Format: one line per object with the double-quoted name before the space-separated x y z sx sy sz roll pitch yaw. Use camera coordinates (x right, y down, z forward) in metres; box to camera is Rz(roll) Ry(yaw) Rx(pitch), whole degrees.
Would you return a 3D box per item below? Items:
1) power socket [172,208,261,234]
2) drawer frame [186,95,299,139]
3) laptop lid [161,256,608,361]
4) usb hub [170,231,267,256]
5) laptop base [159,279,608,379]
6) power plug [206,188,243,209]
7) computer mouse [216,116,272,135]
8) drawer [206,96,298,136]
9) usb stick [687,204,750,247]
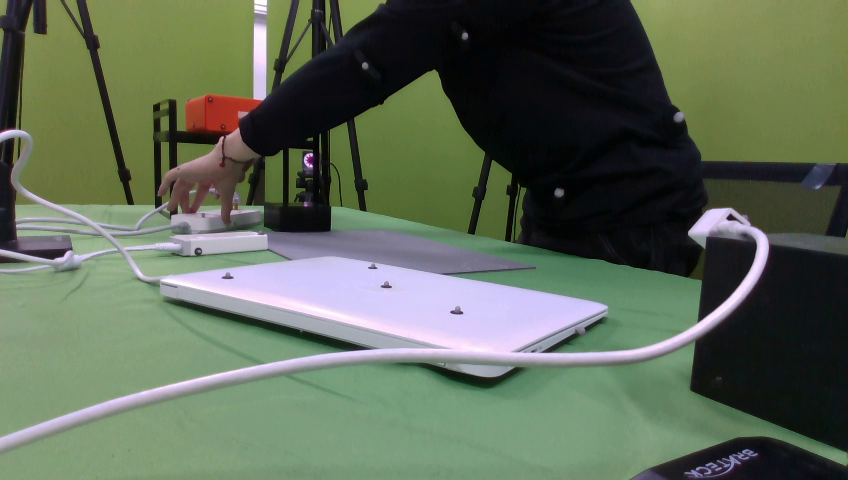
"power socket" -0.381 -0.038 1.129 0.072 0.032 0.227 3 8 12
"drawer frame" -0.417 -0.277 1.378 0.203 0.082 0.212 -3 8 -32
"laptop lid" -0.037 0.046 0.555 0.355 0.013 0.243 8 8 35
"usb hub" -0.290 0.005 0.862 0.049 0.025 0.126 10 11 42
"laptop base" -0.039 0.058 0.555 0.352 0.023 0.237 8 7 33
"power plug" -0.395 -0.078 1.205 0.072 0.052 0.035 -1 0 21
"computer mouse" -0.402 -0.257 1.353 0.118 0.041 0.062 -5 14 -34
"drawer" -0.413 -0.275 1.376 0.195 0.073 0.210 -3 9 -31
"usb stick" 0.214 -0.010 0.448 0.021 0.027 0.059 39 2 6
